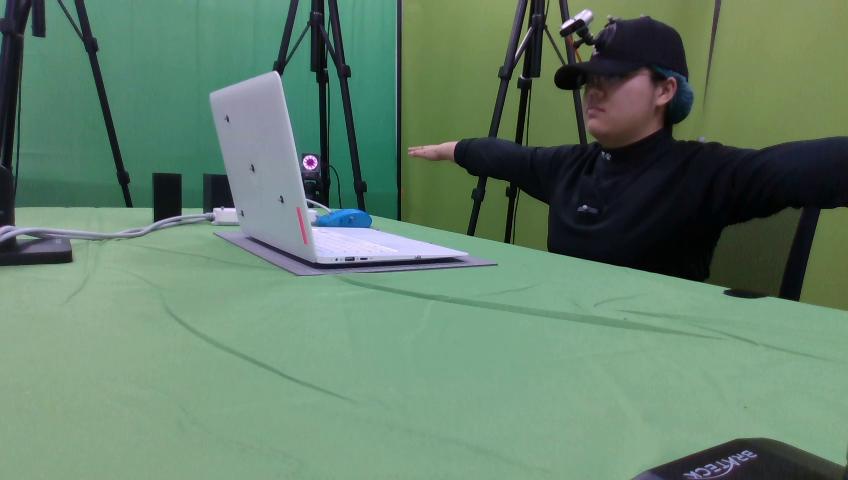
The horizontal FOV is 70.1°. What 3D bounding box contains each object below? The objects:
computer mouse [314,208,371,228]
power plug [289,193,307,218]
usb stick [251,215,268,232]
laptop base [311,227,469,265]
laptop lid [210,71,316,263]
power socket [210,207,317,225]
[{"bbox_3d":[-0.173,-0.046,1.284,0.118,0.041,0.062,-7,13,-30],"label":"computer mouse"},{"bbox_3d":[-0.281,-0.076,1.340,0.035,0.052,0.072,3,6,-17],"label":"power plug"},{"bbox_3d":[-0.290,-0.028,1.070,0.021,0.027,0.059,-2,11,-29],"label":"usb stick"},{"bbox_3d":[-0.123,0.007,0.952,0.237,0.023,0.352,2,6,-32],"label":"laptop base"},{"bbox_3d":[-0.240,-0.104,0.861,0.013,0.241,0.355,-16,17,-29],"label":"laptop lid"},{"bbox_3d":[-0.335,-0.051,1.281,0.228,0.032,0.072,-1,8,-28],"label":"power socket"}]
